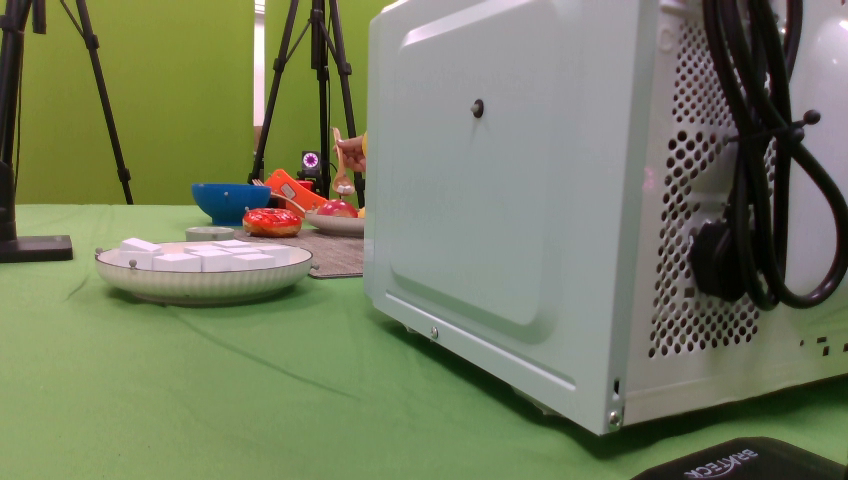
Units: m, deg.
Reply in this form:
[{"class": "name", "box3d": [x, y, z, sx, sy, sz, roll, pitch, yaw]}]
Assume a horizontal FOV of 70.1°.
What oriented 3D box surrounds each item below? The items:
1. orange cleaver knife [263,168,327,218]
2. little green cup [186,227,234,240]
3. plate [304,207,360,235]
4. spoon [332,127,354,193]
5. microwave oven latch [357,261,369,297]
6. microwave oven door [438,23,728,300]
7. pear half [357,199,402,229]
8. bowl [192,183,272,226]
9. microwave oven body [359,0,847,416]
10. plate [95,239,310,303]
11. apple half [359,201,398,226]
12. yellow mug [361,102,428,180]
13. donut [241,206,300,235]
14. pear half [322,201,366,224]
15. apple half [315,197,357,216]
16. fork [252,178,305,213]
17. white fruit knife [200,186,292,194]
[{"class": "orange cleaver knife", "box3d": [-0.263, -0.087, 1.353, 0.211, 0.077, 0.012, 28, 13, -1]}, {"class": "little green cup", "box3d": [-0.285, 0.005, 0.805, 0.061, 0.038, 0.061, 2, 8, 0]}, {"class": "plate", "box3d": [-0.123, -0.037, 1.149, 0.209, 0.038, 0.209, 2, 7, 0]}, {"class": "spoon", "box3d": [-0.163, -0.158, 1.176, 0.042, 0.021, 0.193, 1, 52, -17]}, {"class": "microwave oven latch", "box3d": [-0.019, 0.033, 0.530, 0.079, 0.029, 0.030, -1, 7, -26]}, {"class": "microwave oven door", "box3d": [0.181, -0.072, 0.621, 0.358, 0.243, 0.039, -2, 8, -29]}, {"class": "pear half", "box3d": [-0.075, -0.047, 1.132, 0.076, 0.056, 0.110, 12, 6, 31]}, {"class": "bowl", "box3d": [-0.381, -0.071, 1.202, 0.151, 0.077, 0.151, 3, 7, 0]}, {"class": "microwave oven body", "box3d": [0.211, -0.047, 0.474, 0.444, 0.260, 0.324, -1, 7, -28]}, {"class": "plate", "box3d": [-0.224, 0.031, 0.629, 0.208, 0.039, 0.207, 2, 7, 0]}, {"class": "apple half", "box3d": [-0.088, -0.058, 1.190, 0.081, 0.033, 0.081, 10, 26, -5]}, {"class": "yellow mug", "box3d": [-0.051, -0.174, 1.036, 0.100, 0.131, 0.063, -21, 43, -22]}, {"class": "donut", "box3d": [-0.263, -0.032, 1.039, 0.099, 0.048, 0.099, 4, 10, 0]}, {"class": "pear half", "box3d": [-0.157, -0.058, 1.197, 0.088, 0.031, 0.070, 11, 31, -4]}, {"class": "apple half", "box3d": [-0.161, -0.052, 1.121, 0.081, 0.053, 0.074, 4, 7, -14]}, {"class": "fork", "box3d": [-0.295, -0.084, 1.292, 0.206, 0.018, 0.028, 29, 10, 25]}, {"class": "white fruit knife", "box3d": [-0.399, -0.111, 1.368, 0.208, 0.016, 0.027, -4, -19, -30]}]
